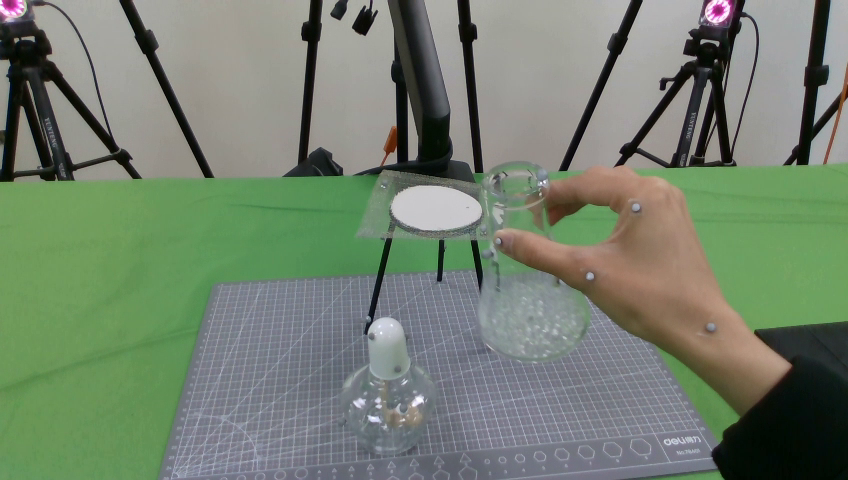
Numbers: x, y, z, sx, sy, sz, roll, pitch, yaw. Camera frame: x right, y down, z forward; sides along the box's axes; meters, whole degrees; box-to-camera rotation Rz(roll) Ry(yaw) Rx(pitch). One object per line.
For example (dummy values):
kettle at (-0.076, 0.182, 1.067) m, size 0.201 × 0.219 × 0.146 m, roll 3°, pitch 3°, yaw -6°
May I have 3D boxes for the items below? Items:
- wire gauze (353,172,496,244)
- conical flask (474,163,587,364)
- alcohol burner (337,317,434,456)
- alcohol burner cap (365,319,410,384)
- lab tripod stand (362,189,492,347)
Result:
wire gauze at (0.006, -0.030, 0.564) m, size 0.121 × 0.011 × 0.124 m, roll 6°, pitch 32°, yaw 4°
conical flask at (0.061, 0.013, 0.373) m, size 0.075 × 0.123 × 0.074 m, roll -8°, pitch 39°, yaw 7°
alcohol burner at (-0.030, 0.112, 0.478) m, size 0.078 × 0.120 × 0.077 m, roll 1°, pitch 30°, yaw 0°
alcohol burner cap at (-0.029, 0.081, 0.458) m, size 0.034 × 0.048 × 0.033 m, roll -3°, pitch 35°, yaw 3°
lab tripod stand at (0.011, 0.028, 0.599) m, size 0.148 × 0.132 × 0.147 m, roll 3°, pitch 31°, yaw -2°
